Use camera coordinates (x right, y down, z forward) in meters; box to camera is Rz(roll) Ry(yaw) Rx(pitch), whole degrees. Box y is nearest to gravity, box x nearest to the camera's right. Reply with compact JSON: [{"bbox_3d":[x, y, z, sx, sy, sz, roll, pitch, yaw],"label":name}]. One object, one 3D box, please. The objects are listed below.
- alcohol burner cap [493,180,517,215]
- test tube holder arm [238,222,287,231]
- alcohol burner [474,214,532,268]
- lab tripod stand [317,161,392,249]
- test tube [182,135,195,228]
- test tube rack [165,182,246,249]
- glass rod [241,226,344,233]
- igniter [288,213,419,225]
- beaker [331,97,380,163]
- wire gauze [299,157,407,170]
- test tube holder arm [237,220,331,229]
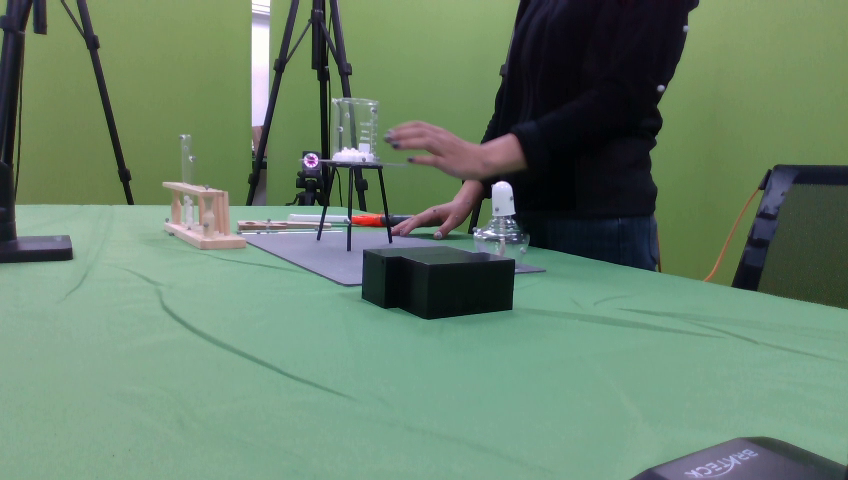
[{"bbox_3d":[0.107,-0.057,0.812,0.034,0.048,0.034,-7,11,2],"label":"alcohol burner cap"},{"bbox_3d":[-0.296,-0.024,1.112,0.088,0.015,0.010,-1,40,-32],"label":"test tube holder arm"},{"bbox_3d":[0.107,-0.022,0.819,0.078,0.119,0.078,1,9,0],"label":"alcohol burner"},{"bbox_3d":[-0.111,-0.059,0.963,0.148,0.131,0.148,4,8,0],"label":"lab tripod stand"},{"bbox_3d":[-0.382,-0.095,0.983,0.017,0.150,0.017,-1,2,0],"label":"test tube"},{"bbox_3d":[-0.360,-0.045,0.983,0.067,0.085,0.241,-3,9,-34],"label":"test tube rack"},{"bbox_3d":[-0.239,-0.019,1.118,0.201,0.008,0.008,-3,9,-33],"label":"glass rod"},{"bbox_3d":[-0.145,-0.044,1.278,0.278,0.025,0.057,-1,-2,-21],"label":"igniter"},{"bbox_3d":[-0.111,-0.171,0.950,0.073,0.100,0.084,12,12,42],"label":"beaker"},{"bbox_3d":[-0.112,-0.124,0.959,0.121,0.011,0.126,13,12,40],"label":"wire gauze"},{"bbox_3d":[-0.260,-0.028,1.140,0.179,0.015,0.013,-1,40,-32],"label":"test tube holder arm"}]
